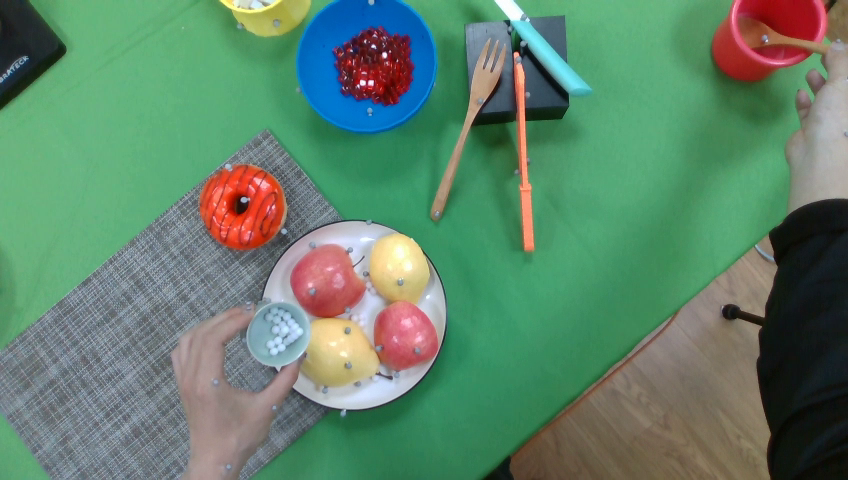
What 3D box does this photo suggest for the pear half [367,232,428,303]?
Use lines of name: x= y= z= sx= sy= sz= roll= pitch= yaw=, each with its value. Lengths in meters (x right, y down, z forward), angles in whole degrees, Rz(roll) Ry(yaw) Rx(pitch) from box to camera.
pear half: x=-0.033 y=0.036 z=0.661 sx=0.070 sy=0.031 sz=0.088 roll=-10 pitch=96 yaw=26

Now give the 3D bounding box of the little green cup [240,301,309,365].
little green cup: x=-0.146 y=0.087 z=0.581 sx=0.062 sy=0.038 sz=0.061 roll=-2 pitch=93 yaw=-34

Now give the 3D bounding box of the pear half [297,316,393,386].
pear half: x=-0.084 y=0.127 z=0.658 sx=0.110 sy=0.056 sz=0.076 roll=23 pitch=92 yaw=1

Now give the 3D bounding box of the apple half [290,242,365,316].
apple half: x=-0.109 y=0.044 z=0.661 sx=0.074 sy=0.053 sz=0.080 roll=-23 pitch=88 yaw=2

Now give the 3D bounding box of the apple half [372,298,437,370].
apple half: x=-0.029 y=0.104 z=0.653 sx=0.081 sy=0.033 sz=0.081 roll=4 pitch=101 yaw=23

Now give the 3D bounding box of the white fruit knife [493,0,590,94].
white fruit knife: x=0.103 y=-0.234 z=0.651 sx=0.027 sy=0.016 sz=0.207 roll=-35 pitch=82 yaw=-29

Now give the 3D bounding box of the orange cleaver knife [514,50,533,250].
orange cleaver knife: x=0.107 y=-0.095 z=0.658 sx=0.012 sy=0.077 sz=0.212 roll=-4 pitch=111 yaw=8

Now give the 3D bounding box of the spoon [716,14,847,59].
spoon: x=0.385 y=-0.201 z=0.618 sx=0.041 sy=0.022 sz=0.191 roll=-44 pitch=41 yaw=-2

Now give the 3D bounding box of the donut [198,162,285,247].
donut: x=-0.206 y=-0.040 z=0.686 sx=0.099 sy=0.048 sz=0.099 roll=0 pitch=88 yaw=5

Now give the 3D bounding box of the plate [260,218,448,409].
plate: x=-0.076 y=0.080 z=0.675 sx=0.209 sy=0.038 sz=0.208 roll=0 pitch=86 yaw=3

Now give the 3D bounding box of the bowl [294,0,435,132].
bowl: x=-0.060 y=-0.186 z=0.675 sx=0.151 sy=0.077 sz=0.151 roll=0 pitch=87 yaw=3

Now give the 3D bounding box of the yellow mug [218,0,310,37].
yellow mug: x=-0.202 y=-0.299 z=0.695 sx=0.130 sy=0.064 sz=0.100 roll=17 pitch=88 yaw=5

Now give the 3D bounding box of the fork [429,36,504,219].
fork: x=0.042 y=-0.117 z=0.660 sx=0.028 sy=0.018 sz=0.208 roll=18 pitch=108 yaw=-3
